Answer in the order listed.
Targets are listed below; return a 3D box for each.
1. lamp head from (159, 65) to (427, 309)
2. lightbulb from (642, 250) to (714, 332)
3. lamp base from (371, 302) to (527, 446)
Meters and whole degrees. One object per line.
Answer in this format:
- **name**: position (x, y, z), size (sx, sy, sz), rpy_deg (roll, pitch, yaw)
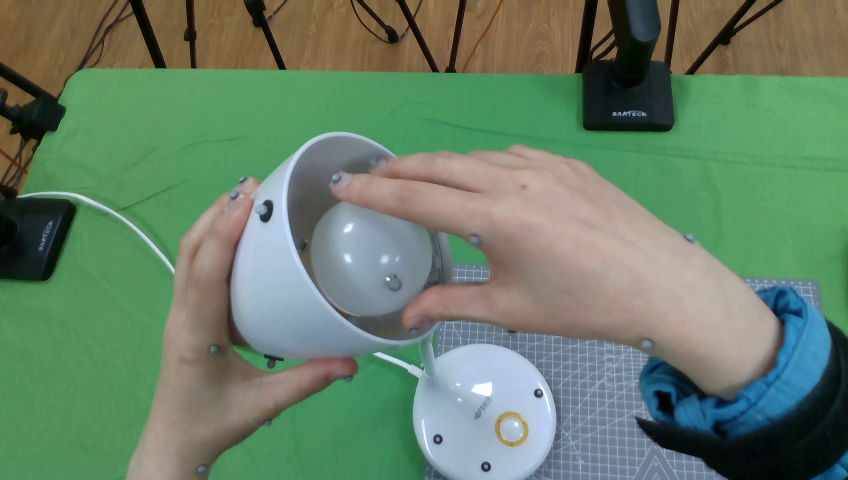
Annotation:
- **lamp head**: position (-0.073, -0.012, 0.311), size (0.122, 0.113, 0.111), rpy_deg (-21, 63, 38)
- **lightbulb**: position (0.279, 0.054, 0.680), size (0.059, 0.060, 0.106), rpy_deg (-21, 54, -2)
- **lamp base**: position (0.015, 0.118, 0.609), size (0.179, 0.181, 0.159), rpy_deg (8, 70, 11)
